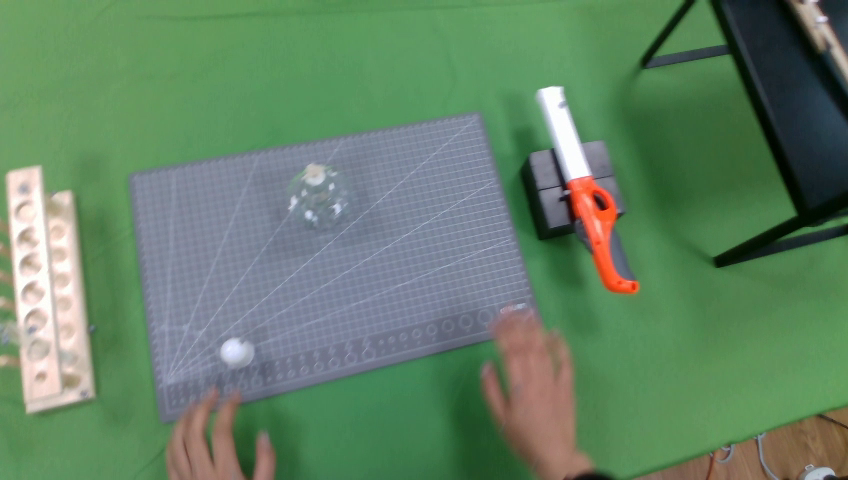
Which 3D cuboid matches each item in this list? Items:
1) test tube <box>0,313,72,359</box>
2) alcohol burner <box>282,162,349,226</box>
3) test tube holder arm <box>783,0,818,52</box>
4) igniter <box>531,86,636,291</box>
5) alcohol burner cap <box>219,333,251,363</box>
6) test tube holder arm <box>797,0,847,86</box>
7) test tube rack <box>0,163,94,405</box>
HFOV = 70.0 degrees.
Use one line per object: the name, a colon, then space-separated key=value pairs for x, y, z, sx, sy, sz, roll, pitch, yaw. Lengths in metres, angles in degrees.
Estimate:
test tube: x=-0.380 y=0.096 z=0.591 sx=0.017 sy=0.151 sz=0.017 roll=3 pitch=69 yaw=-7
alcohol burner: x=-0.126 y=-0.059 z=0.698 sx=0.078 sy=0.119 sz=0.077 roll=1 pitch=75 yaw=-4
test tube holder arm: x=0.423 y=-0.251 z=0.681 sx=0.010 sy=0.015 sz=0.087 roll=-30 pitch=79 yaw=27
igniter: x=0.190 y=-0.065 z=0.734 sx=0.057 sy=0.025 sz=0.274 roll=-13 pitch=73 yaw=-13
alcohol burner cap: x=-0.213 y=0.119 z=0.675 sx=0.034 sy=0.048 sz=0.033 roll=2 pitch=73 yaw=-7
test tube holder arm: x=0.447 y=-0.214 z=0.671 sx=0.013 sy=0.015 sz=0.177 roll=-32 pitch=78 yaw=26
test tube rack: x=-0.420 y=0.048 z=0.652 sx=0.067 sy=0.085 sz=0.241 roll=-12 pitch=76 yaw=-9
